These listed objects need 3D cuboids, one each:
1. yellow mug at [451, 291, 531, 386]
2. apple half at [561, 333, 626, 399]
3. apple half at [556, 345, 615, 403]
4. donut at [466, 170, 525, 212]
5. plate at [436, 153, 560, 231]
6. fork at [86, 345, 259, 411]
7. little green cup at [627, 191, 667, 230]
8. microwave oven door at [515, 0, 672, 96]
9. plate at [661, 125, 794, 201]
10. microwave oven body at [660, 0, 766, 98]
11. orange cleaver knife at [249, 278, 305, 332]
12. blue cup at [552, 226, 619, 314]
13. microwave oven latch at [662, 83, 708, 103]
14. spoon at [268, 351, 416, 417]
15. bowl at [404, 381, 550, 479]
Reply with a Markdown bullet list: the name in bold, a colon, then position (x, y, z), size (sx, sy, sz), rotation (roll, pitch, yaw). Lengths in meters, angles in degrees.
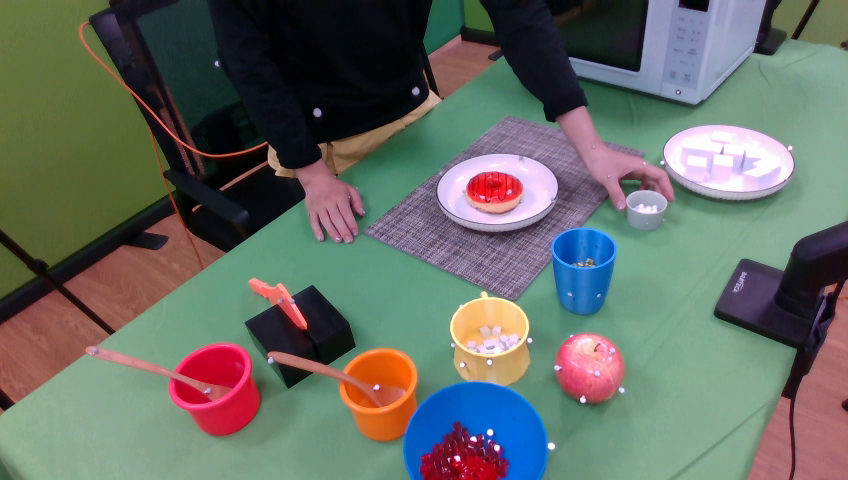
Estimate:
- **yellow mug**: position (0.086, 0.120, 0.786), size (0.100, 0.064, 0.130), rotation (-7, 39, 1)
- **apple half**: position (0.209, 0.147, 0.730), size (0.080, 0.075, 0.053), rotation (26, 48, 38)
- **apple half**: position (0.181, 0.166, 0.709), size (0.080, 0.081, 0.033), rotation (29, 50, 35)
- **donut**: position (0.120, -0.083, 1.019), size (0.099, 0.048, 0.098), rotation (-4, 39, 4)
- **plate**: position (0.125, -0.078, 1.029), size (0.209, 0.038, 0.208), rotation (-4, 40, 4)
- **fork**: position (-0.298, 0.166, 0.728), size (0.209, 0.018, 0.028), rotation (28, 45, -23)
- **little green cup**: position (0.352, -0.046, 0.962), size (0.061, 0.039, 0.061), rotation (-3, 41, 3)
- **microwave oven door**: position (0.344, -0.455, 1.259), size (0.353, 0.245, 0.039), rotation (26, 51, 33)
- **plate**: position (0.514, -0.128, 1.035), size (0.207, 0.039, 0.206), rotation (-4, 40, 4)
- **microwave oven body**: position (0.473, -0.513, 1.317), size (0.438, 0.261, 0.327), rotation (26, 51, 34)
- **orange cleaver knife**: position (-0.210, 0.089, 0.855), size (0.012, 0.077, 0.210), rotation (-28, 15, -25)
- **blue cup**: position (0.218, 0.047, 0.825), size (0.092, 0.101, 0.092), rotation (-6, 39, 5)
- **microwave oven latch**: position (0.518, -0.297, 1.204), size (0.078, 0.029, 0.030), rotation (29, 53, 36)
- **spoon**: position (-0.091, 0.163, 0.699), size (0.021, 0.195, 0.041), rotation (-44, 31, 28)
- **bowl**: position (0.058, 0.235, 0.645), size (0.151, 0.077, 0.150), rotation (-4, 39, 4)
